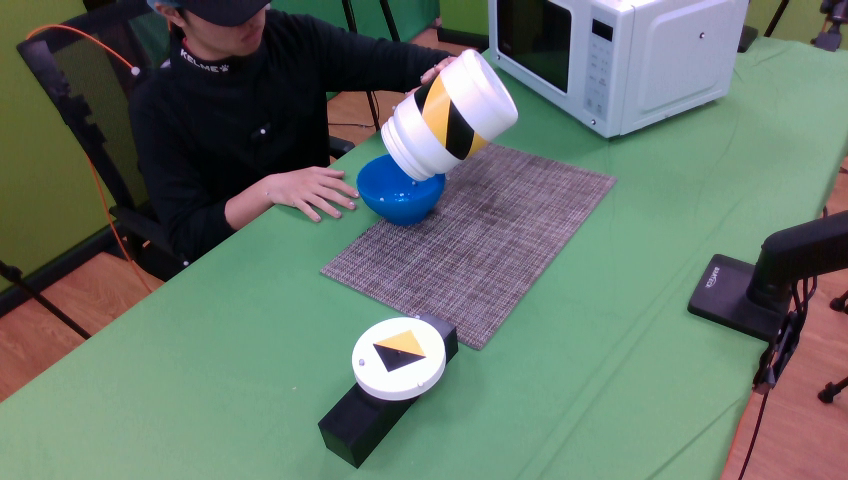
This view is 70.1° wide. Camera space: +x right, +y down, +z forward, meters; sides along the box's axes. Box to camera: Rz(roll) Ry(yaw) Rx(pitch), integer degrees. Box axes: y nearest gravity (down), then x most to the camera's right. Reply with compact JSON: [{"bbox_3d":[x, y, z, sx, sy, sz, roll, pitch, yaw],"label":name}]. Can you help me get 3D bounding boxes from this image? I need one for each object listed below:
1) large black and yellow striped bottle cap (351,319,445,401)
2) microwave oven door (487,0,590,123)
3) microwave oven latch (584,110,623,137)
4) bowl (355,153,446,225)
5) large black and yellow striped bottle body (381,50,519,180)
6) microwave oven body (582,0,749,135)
[{"bbox_3d":[-0.031,0.143,0.735,0.115,0.019,0.114,-3,40,3],"label":"large black and yellow striped bottle cap"},{"bbox_3d":[0.232,-0.420,1.230,0.039,0.245,0.352,-22,43,-16],"label":"microwave oven door"},{"bbox_3d":[0.337,-0.222,1.142,0.030,0.029,0.078,-21,42,-14],"label":"microwave oven latch"},{"bbox_3d":[-0.035,-0.078,1.017,0.151,0.077,0.150,-4,40,4],"label":"bowl"},{"bbox_3d":[0.037,-0.185,0.927,0.183,0.132,0.130,-33,34,23],"label":"large black and yellow striped bottle body"},{"bbox_3d":[0.382,-0.444,1.246,0.327,0.261,0.437,-22,42,-16],"label":"microwave oven body"}]
